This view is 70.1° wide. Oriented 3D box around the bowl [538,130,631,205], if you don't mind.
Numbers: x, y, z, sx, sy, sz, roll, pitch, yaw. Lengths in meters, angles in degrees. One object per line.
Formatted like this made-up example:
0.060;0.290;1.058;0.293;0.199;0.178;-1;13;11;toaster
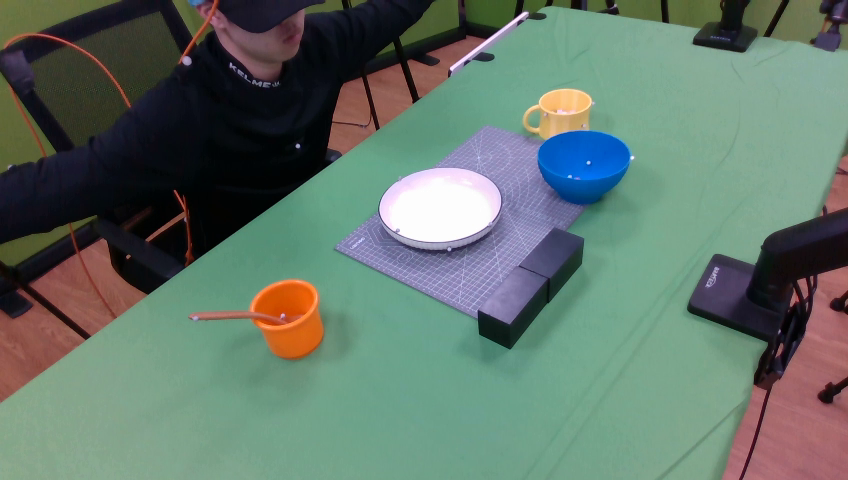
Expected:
0.265;-0.113;1.014;0.151;0.077;0.150;-4;40;4;bowl

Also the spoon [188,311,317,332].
-0.216;0.102;0.784;0.041;0.195;0.021;27;96;38;spoon

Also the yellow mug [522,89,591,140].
0.257;-0.239;1.177;0.131;0.064;0.099;-6;41;3;yellow mug

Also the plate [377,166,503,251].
0.027;-0.050;1.007;0.209;0.038;0.208;-4;41;4;plate
